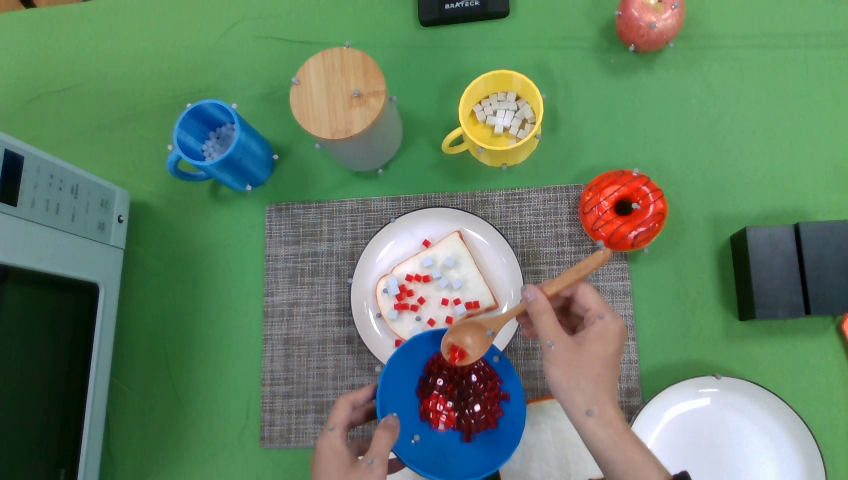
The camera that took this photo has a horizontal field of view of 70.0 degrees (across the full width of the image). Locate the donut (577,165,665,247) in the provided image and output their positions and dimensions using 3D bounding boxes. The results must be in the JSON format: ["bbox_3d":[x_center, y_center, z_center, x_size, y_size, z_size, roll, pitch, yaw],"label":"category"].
[{"bbox_3d":[0.228,-0.039,0.706,0.099,0.048,0.098,-1,80,8],"label":"donut"}]

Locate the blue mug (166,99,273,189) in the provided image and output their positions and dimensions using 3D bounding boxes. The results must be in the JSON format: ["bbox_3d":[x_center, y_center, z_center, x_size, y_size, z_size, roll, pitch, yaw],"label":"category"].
[{"bbox_3d":[-0.262,-0.109,0.757,0.116,0.106,0.082,-28,76,2],"label":"blue mug"}]

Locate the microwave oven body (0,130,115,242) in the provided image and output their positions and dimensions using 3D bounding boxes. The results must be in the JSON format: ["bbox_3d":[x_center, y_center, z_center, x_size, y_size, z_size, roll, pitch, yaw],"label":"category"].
[{"bbox_3d":[-0.567,0.120,0.673,0.325,0.261,0.440,0,80,7],"label":"microwave oven body"}]

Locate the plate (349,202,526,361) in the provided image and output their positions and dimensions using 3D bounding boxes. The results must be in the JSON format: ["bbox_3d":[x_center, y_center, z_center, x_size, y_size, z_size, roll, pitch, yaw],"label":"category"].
[{"bbox_3d":[0.017,0.059,0.720,0.207,0.039,0.206,-1,79,8],"label":"plate"}]

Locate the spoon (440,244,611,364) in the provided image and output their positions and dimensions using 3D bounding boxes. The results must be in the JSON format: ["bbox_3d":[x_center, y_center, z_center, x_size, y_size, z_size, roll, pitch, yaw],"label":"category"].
[{"bbox_3d":[0.088,0.060,0.552,0.194,0.022,0.041,-38,78,31],"label":"spoon"}]

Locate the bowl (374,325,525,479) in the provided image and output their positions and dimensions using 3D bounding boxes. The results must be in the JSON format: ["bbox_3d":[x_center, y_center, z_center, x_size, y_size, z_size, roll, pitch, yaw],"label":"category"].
[{"bbox_3d":[0.020,0.170,0.618,0.152,0.077,0.150,5,61,-9],"label":"bowl"}]

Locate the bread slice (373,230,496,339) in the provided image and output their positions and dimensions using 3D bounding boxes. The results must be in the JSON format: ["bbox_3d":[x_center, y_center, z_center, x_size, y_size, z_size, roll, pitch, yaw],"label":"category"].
[{"bbox_3d":[0.007,0.061,0.723,0.131,0.019,0.104,-29,77,-1],"label":"bread slice"}]

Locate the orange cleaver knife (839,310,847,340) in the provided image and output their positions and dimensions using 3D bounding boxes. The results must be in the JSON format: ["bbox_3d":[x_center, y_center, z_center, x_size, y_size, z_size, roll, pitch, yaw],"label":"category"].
[{"bbox_3d":[0.498,0.166,0.648,0.077,0.012,0.210,-1,78,1],"label":"orange cleaver knife"}]

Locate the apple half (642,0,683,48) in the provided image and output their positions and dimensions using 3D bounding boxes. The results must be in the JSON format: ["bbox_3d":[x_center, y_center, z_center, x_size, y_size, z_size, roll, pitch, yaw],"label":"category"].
[{"bbox_3d":[0.280,-0.278,0.732,0.053,0.075,0.080,-35,73,-5],"label":"apple half"}]

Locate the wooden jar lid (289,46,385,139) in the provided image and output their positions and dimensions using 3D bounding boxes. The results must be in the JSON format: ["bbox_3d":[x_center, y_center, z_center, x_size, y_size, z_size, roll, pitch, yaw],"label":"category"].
[{"bbox_3d":[-0.095,-0.161,0.670,0.108,0.021,0.108,-2,77,8],"label":"wooden jar lid"}]

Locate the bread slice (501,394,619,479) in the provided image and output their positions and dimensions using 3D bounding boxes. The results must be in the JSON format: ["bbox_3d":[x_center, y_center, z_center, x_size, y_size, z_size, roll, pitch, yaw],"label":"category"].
[{"bbox_3d":[0.144,0.223,0.649,0.135,0.018,0.106,-7,74,-14],"label":"bread slice"}]

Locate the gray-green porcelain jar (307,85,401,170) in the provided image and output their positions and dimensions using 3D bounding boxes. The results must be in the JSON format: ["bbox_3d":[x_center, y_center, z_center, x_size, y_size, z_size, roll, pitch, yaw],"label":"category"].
[{"bbox_3d":[-0.086,-0.148,0.731,0.106,0.127,0.105,-1,79,8],"label":"gray-green porcelain jar"}]

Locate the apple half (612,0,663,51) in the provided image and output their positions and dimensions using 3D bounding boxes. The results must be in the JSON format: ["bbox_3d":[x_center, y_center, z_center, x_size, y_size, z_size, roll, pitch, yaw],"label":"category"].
[{"bbox_3d":[0.249,-0.255,0.730,0.033,0.081,0.081,-35,76,-5],"label":"apple half"}]

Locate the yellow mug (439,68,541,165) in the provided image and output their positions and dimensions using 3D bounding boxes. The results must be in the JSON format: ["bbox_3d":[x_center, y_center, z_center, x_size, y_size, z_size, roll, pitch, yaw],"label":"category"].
[{"bbox_3d":[0.077,-0.142,0.738,0.131,0.064,0.099,-27,77,3],"label":"yellow mug"}]

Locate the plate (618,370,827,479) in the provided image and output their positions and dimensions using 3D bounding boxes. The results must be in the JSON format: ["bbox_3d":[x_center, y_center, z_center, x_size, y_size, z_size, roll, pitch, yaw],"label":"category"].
[{"bbox_3d":[0.312,0.244,0.649,0.209,0.038,0.208,-2,79,8],"label":"plate"}]

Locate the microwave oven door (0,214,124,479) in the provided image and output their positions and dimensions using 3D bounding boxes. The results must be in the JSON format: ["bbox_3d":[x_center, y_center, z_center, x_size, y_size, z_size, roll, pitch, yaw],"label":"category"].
[{"bbox_3d":[-0.425,0.161,0.641,0.039,0.245,0.354,0,79,8],"label":"microwave oven door"}]

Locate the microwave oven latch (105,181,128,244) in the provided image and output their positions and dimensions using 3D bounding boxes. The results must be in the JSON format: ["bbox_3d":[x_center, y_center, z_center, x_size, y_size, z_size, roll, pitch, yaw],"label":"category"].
[{"bbox_3d":[-0.403,-0.035,0.779,0.030,0.029,0.079,2,80,8],"label":"microwave oven latch"}]
